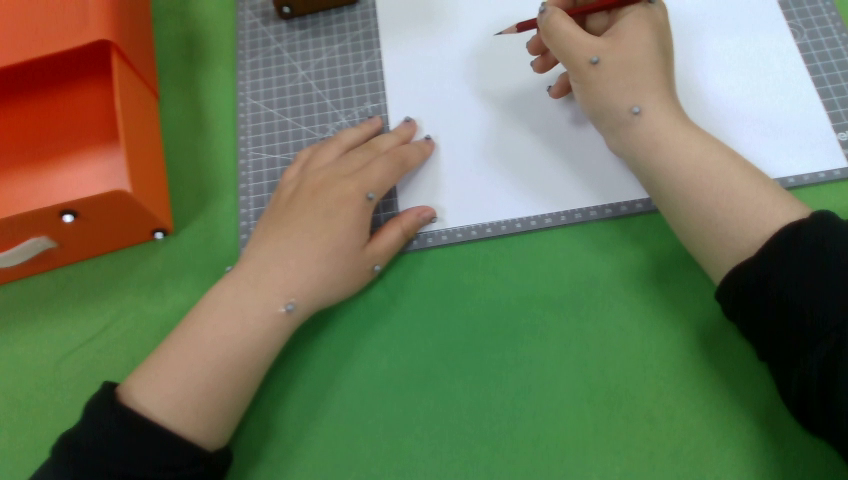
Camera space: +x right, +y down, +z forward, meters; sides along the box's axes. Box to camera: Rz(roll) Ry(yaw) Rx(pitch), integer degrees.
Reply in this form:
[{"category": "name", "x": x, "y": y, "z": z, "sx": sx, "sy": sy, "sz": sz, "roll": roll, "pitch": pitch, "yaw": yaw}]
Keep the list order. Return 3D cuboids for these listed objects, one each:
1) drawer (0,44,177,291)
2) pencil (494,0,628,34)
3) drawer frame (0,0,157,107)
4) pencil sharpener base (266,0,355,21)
[{"category": "drawer", "x": -0.294, "y": -0.075, "z": 0.426, "sx": 0.194, "sy": 0.074, "sz": 0.210, "roll": -18, "pitch": 68, "yaw": 0}, {"category": "pencil", "x": 0.120, "y": -0.145, "z": 0.356, "sx": 0.193, "sy": 0.012, "sz": 0.012, "roll": -1, "pitch": 64, "yaw": 42}, {"category": "drawer frame", "x": -0.327, "y": -0.179, "z": 0.469, "sx": 0.202, "sy": 0.083, "sz": 0.211, "roll": -17, "pitch": 67, "yaw": 0}, {"category": "pencil sharpener base", "x": -0.100, "y": -0.225, "z": 0.447, "sx": 0.077, "sy": 0.108, "sz": 0.061, "roll": -15, "pitch": 68, "yaw": 1}]
